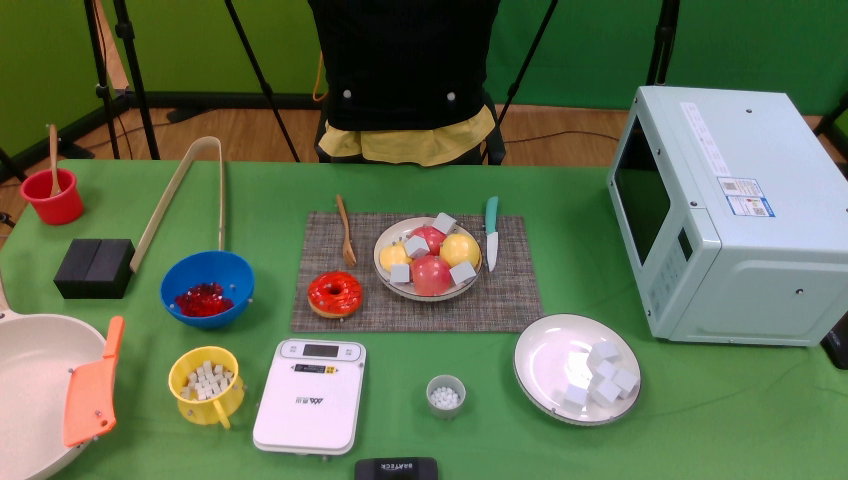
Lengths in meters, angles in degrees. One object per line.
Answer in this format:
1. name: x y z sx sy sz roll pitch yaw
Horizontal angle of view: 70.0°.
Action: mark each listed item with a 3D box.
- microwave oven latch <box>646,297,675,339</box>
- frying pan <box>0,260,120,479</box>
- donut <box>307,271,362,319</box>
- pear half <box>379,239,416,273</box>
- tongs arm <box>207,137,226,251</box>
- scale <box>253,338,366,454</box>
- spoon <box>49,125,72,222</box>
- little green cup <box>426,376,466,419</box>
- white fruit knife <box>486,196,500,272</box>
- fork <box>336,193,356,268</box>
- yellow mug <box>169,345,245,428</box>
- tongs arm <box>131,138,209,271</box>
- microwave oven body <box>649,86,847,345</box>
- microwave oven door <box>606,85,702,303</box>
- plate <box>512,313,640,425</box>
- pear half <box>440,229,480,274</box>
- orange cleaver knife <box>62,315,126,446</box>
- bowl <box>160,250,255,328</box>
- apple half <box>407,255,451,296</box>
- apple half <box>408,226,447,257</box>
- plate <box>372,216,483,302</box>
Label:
1. microwave oven latch: 0.412 0.134 1.061 0.030 0.029 0.078 4 45 1
2. frying pan: -0.647 0.164 0.936 0.307 0.103 0.485 -19 58 -22
3. donut: -0.158 0.097 1.073 0.099 0.048 0.098 4 45 -4
4. pear half: -0.048 0.024 1.147 0.070 0.031 0.087 12 47 -11
5. tongs arm: -0.430 -0.090 1.245 0.051 0.026 0.382 -7 46 -7
6. scale: -0.175 0.236 0.951 0.149 0.032 0.199 4 45 -1
7. spoon: -0.718 -0.131 1.189 0.041 0.021 0.193 -4 90 -7
8. little green cup: 0.033 0.248 0.950 0.061 0.039 0.061 2 46 -2
9. white fruit knife: 0.138 -0.015 1.221 0.027 0.016 0.206 -2 46 10
10. fork: -0.158 -0.024 1.207 0.019 0.028 0.206 15 38 -27
11. yellow mug: -0.322 0.230 0.922 0.100 0.064 0.130 -24 53 -25
12. tongs arm: -0.514 -0.087 1.237 0.028 0.028 0.385 0 45 5
13. microwave oven body: 0.567 -0.053 1.118 0.326 0.261 0.439 2 45 -1
14. microwave oven door: 0.422 -0.094 1.140 0.039 0.245 0.353 2 46 -1
15. plate: 0.246 0.213 0.999 0.208 0.039 0.206 2 46 -2
16. pear half: 0.065 0.007 1.151 0.076 0.056 0.109 -10 43 -2
17. orange cleaver knife: -0.480 0.199 0.887 0.077 0.012 0.210 -9 47 -8
18. bowl: -0.362 0.098 1.040 0.151 0.077 0.150 2 45 -2
19. apple half: 0.011 0.058 1.103 0.075 0.053 0.080 -6 43 -13
20. apple half: 0.010 -0.006 1.176 0.081 0.033 0.081 2 51 -2
21. plate: 0.006 0.038 1.145 0.209 0.038 0.208 2 46 -2
